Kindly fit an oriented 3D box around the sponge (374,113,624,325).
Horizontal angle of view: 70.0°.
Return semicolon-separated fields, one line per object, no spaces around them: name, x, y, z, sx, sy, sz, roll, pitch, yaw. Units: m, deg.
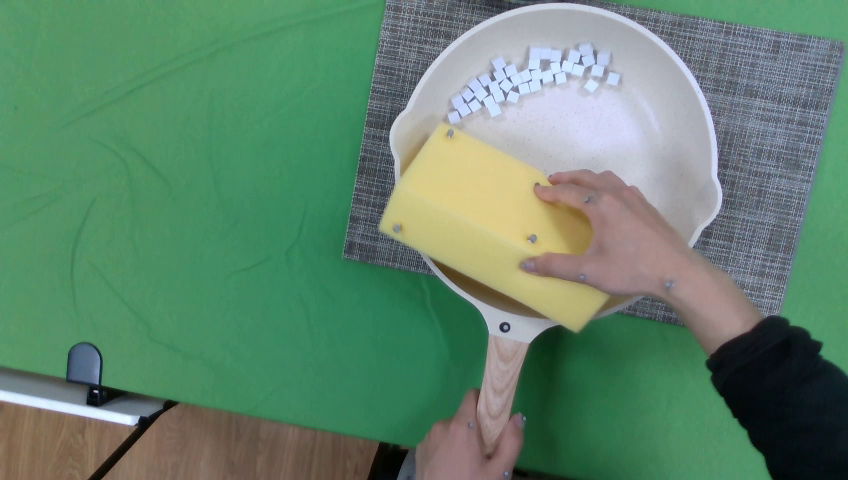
sponge;0.074;-0.023;0.564;0.207;0.117;0.061;27;134;0

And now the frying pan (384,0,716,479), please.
frying pan;0.090;0.026;0.579;0.306;0.103;0.487;14;88;4
